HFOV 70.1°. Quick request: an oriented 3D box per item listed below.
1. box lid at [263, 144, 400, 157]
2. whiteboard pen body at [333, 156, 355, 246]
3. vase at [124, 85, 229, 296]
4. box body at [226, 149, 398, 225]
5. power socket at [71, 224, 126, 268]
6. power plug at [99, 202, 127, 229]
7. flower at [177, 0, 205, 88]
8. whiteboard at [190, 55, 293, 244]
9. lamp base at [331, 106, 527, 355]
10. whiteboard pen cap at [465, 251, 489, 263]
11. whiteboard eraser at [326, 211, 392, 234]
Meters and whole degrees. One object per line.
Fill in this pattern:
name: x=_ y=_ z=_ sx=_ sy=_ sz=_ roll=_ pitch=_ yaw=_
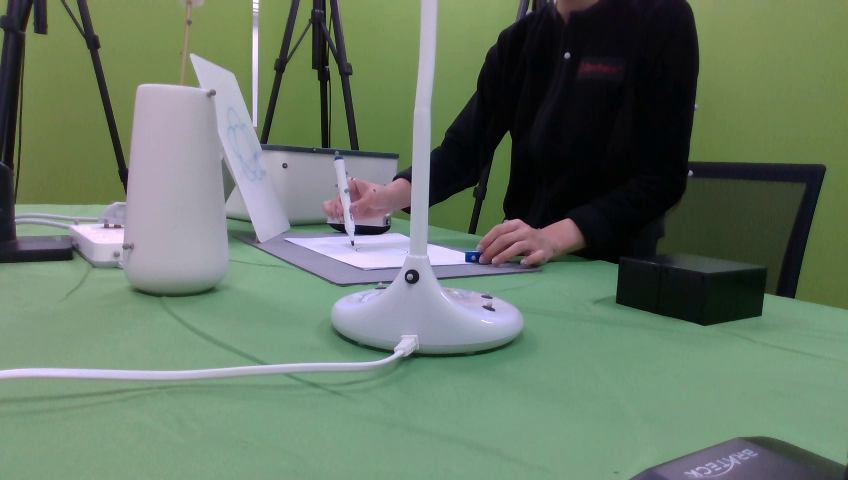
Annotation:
box lid: x=-0.263 y=-0.203 z=1.369 sx=0.262 sy=0.015 sz=0.373 roll=9 pitch=10 yaw=39
whiteboard pen body: x=-0.120 y=-0.059 z=0.917 sx=0.017 sy=0.140 sz=0.017 roll=-10 pitch=-7 yaw=-1
vase: x=-0.244 y=-0.047 z=0.598 sx=0.098 sy=0.200 sz=0.098 roll=3 pitch=8 yaw=0
box body: x=-0.265 y=-0.129 z=1.380 sx=0.253 sy=0.160 sz=0.366 roll=8 pitch=9 yaw=39
power socket: x=-0.409 y=0.004 z=0.793 sx=0.072 sy=0.032 sz=0.225 roll=-2 pitch=8 yaw=-37
power plug: x=-0.415 y=-0.026 z=0.848 sx=0.073 sy=0.052 sz=0.035 roll=6 pitch=5 yaw=-28
flower: x=-0.243 y=-0.131 z=0.609 sx=0.044 sy=0.361 sz=0.038 roll=-5 pitch=-12 yaw=12
whiteboard: x=-0.362 y=-0.129 z=1.029 sx=0.144 sy=0.305 sz=0.217 roll=-18 pitch=7 yaw=3
lamp base: x=0.006 y=-0.012 z=0.478 sx=0.161 sy=0.180 sz=0.179 roll=2 pitch=10 yaw=2
whiteboard pen cap: x=0.074 y=0.024 z=0.848 sx=0.033 sy=0.018 sz=0.018 roll=2 pitch=8 yaw=0
whiteboard eraser: x=-0.120 y=-0.033 z=1.131 sx=0.112 sy=0.042 sz=0.056 roll=4 pitch=8 yaw=13
